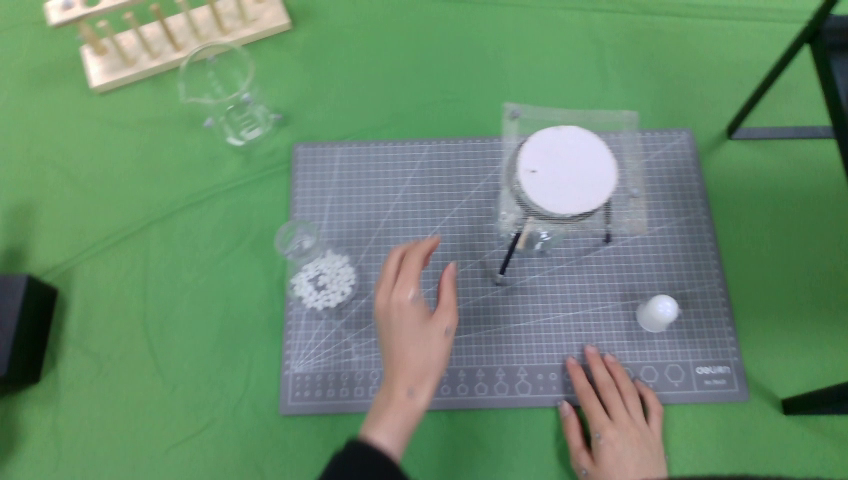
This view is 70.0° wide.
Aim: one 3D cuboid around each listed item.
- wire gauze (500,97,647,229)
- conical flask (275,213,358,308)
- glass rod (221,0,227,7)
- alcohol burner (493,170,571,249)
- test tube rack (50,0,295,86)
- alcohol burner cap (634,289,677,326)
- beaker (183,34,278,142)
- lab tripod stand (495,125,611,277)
[{"bbox_3d":[0.127,-0.067,0.519,0.121,0.011,0.124,4,70,1],"label":"wire gauze"},{"bbox_3d":[-0.107,0.015,0.571,0.075,0.122,0.075,0,69,2],"label":"conical flask"},{"bbox_3d":[-0.237,-0.324,0.651,0.008,0.201,0.008,1,68,-3],"label":"glass rod"},{"bbox_3d":[0.108,-0.036,0.591,0.078,0.120,0.077,0,69,-1],"label":"alcohol burner"},{"bbox_3d":[-0.283,-0.266,0.701,0.242,0.086,0.066,-21,71,-7],"label":"test tube rack"},{"bbox_3d":[0.228,0.063,0.590,0.034,0.048,0.033,0,70,1],"label":"alcohol burner cap"},{"bbox_3d":[-0.205,-0.156,0.651,0.084,0.101,0.073,-42,74,-13],"label":"beaker"},{"bbox_3d":[0.121,-0.038,0.581,0.148,0.132,0.147,0,68,0],"label":"lab tripod stand"}]
